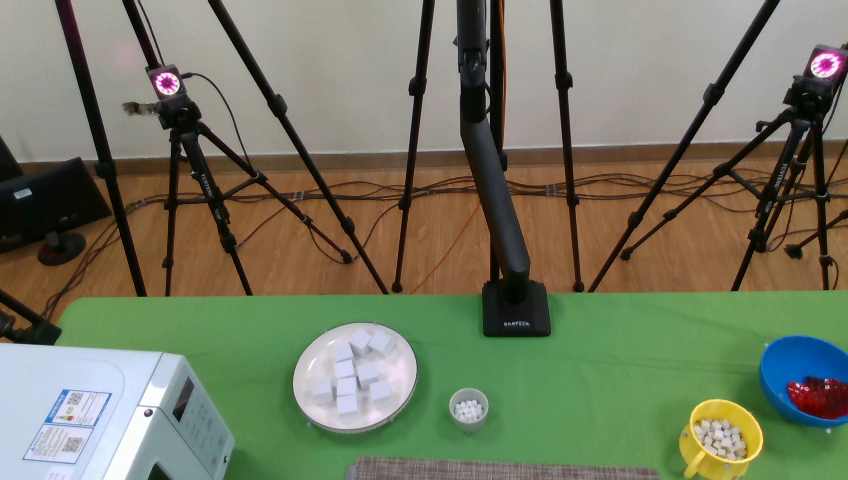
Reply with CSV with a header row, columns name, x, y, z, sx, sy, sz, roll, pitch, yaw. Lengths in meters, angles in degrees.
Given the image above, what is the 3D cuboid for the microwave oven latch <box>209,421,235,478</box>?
name,x,y,z,sx,sy,sz,roll,pitch,yaw
microwave oven latch,-0.310,0.315,0.915,0.030,0.030,0.078,3,47,7

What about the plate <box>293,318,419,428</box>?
name,x,y,z,sx,sy,sz,roll,pitch,yaw
plate,-0.111,0.223,1.013,0.207,0.039,0.205,-2,46,3

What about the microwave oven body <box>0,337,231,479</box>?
name,x,y,z,sx,sy,sz,roll,pitch,yaw
microwave oven body,-0.482,0.372,0.741,0.326,0.263,0.437,2,47,6

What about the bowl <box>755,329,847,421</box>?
name,x,y,z,sx,sy,sz,roll,pitch,yaw
bowl,0.581,0.219,0.930,0.151,0.077,0.150,-3,47,3

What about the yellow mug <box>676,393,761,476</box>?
name,x,y,z,sx,sy,sz,roll,pitch,yaw
yellow mug,0.418,0.292,0.882,0.131,0.064,0.099,-33,53,-23

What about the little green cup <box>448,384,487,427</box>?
name,x,y,z,sx,sy,sz,roll,pitch,yaw
little green cup,0.069,0.264,0.958,0.061,0.039,0.061,-3,46,3

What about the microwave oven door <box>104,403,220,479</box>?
name,x,y,z,sx,sy,sz,roll,pitch,yaw
microwave oven door,-0.342,0.402,0.692,0.039,0.246,0.352,2,46,7
